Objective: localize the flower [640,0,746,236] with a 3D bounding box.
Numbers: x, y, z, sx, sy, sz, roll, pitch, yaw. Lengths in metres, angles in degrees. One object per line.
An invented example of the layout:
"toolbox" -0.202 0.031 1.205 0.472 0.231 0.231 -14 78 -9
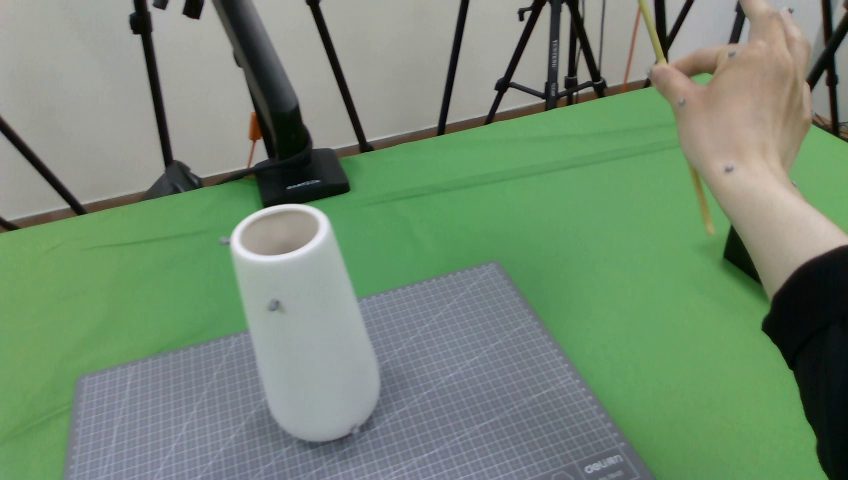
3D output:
"flower" 0.178 -0.172 0.469 0.038 0.361 0.044 -23 -6 38

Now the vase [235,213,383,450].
"vase" -0.091 0.078 0.487 0.098 0.202 0.097 -4 36 3
